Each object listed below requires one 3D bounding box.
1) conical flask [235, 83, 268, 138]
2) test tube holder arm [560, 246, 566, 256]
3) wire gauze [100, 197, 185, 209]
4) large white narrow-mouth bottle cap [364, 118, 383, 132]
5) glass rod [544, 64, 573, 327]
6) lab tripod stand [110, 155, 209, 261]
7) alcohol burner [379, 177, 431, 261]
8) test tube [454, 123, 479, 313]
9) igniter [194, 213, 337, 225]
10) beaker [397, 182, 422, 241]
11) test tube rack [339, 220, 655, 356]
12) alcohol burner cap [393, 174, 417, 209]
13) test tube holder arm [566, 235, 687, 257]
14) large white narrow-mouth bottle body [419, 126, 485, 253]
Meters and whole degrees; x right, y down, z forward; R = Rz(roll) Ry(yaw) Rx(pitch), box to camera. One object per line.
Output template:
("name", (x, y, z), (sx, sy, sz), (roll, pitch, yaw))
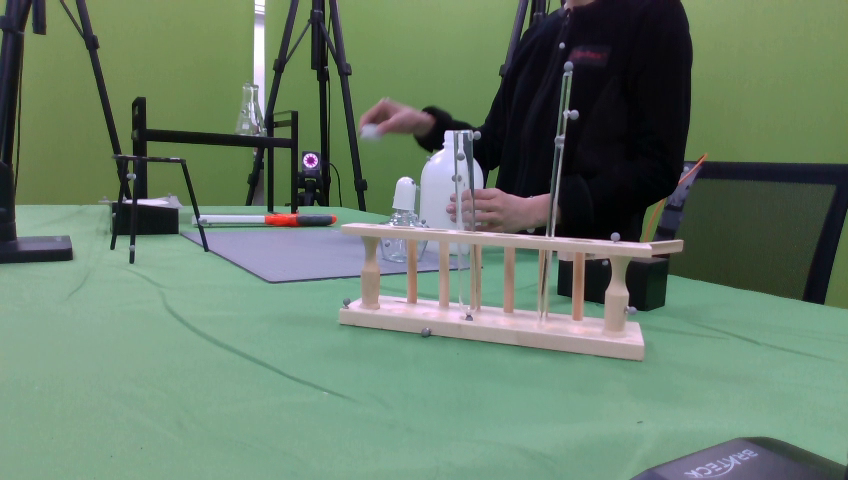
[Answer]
("conical flask", (-0.402, -0.299, 1.406), (0.075, 0.122, 0.075), (2, 7, 0))
("test tube holder arm", (0.173, 0.007, 0.612), (0.088, 0.015, 0.010), (-3, 9, -30))
("wire gauze", (-0.469, -0.062, 1.008), (0.126, 0.011, 0.121), (-2, 8, -25))
("large white narrow-mouth bottle cap", (-0.092, -0.209, 1.105), (0.038, 0.024, 0.037), (2, 8, 0))
("glass rod", (0.101, -0.028, 0.453), (0.008, 0.199, 0.008), (1, 14, 0))
("lab tripod stand", (-0.361, -0.046, 0.806), (0.148, 0.131, 0.148), (2, 5, 0))
("alcohol burner", (-0.027, -0.031, 0.838), (0.078, 0.119, 0.078), (0, 6, 0))
("test tube", (0.034, -0.015, 0.476), (0.017, 0.150, 0.017), (-2, 9, 1))
("igniter", (-0.306, -0.042, 1.196), (0.278, 0.025, 0.057), (-2, -2, -30))
("beaker", (-0.011, -0.051, 1.077), (0.074, 0.100, 0.083), (-2, 9, -26))
("test tube rack", (0.056, 0.032, 0.495), (0.242, 0.085, 0.067), (4, 7, 15))
("alcohol burner cap", (-0.025, -0.067, 0.834), (0.034, 0.048, 0.034), (8, 7, -1))
("test tube holder arm", (0.215, 0.006, 0.630), (0.179, 0.015, 0.013), (-3, 9, -31))
("large white narrow-mouth bottle body", (0.046, -0.081, 0.955), (0.102, 0.194, 0.102), (2, 8, 0))
